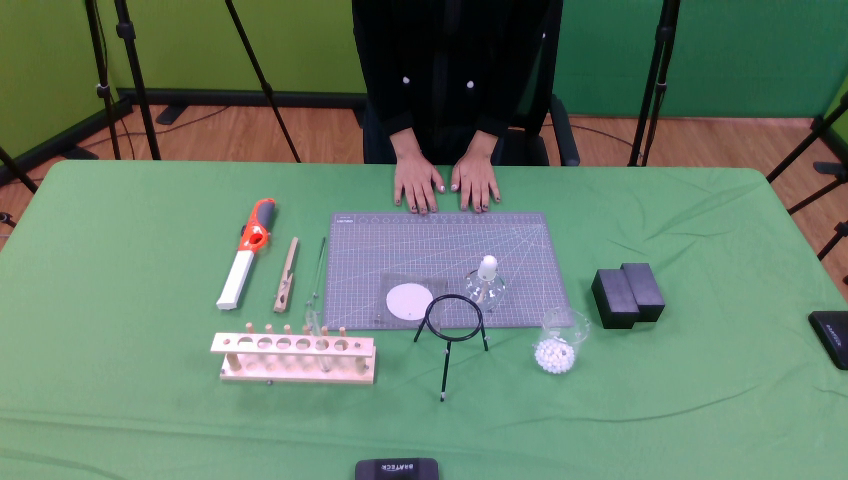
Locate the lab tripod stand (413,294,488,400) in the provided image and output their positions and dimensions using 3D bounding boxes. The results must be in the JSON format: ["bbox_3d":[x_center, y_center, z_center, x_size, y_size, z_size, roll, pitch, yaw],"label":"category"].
[{"bbox_3d":[0.044,0.159,0.972,0.148,0.132,0.147,2,44,-2],"label":"lab tripod stand"}]

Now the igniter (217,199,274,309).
[{"bbox_3d":[-0.336,0.017,1.153,0.057,0.025,0.275,-2,45,8],"label":"igniter"}]

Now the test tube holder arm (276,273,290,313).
[{"bbox_3d":[-0.254,0.093,1.094,0.010,0.015,0.087,28,38,-27],"label":"test tube holder arm"}]

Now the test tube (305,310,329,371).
[{"bbox_3d":[-0.162,0.156,0.924,0.017,0.151,0.017,-1,48,1],"label":"test tube"}]

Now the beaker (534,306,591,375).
[{"bbox_3d":[0.226,0.169,1.002,0.084,0.101,0.073,-6,47,-10],"label":"beaker"}]

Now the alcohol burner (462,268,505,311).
[{"bbox_3d":[0.108,0.071,1.073,0.078,0.119,0.077,4,46,-3],"label":"alcohol burner"}]

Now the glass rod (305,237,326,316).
[{"bbox_3d":[-0.202,0.063,1.131,0.008,0.008,0.198,3,44,0],"label":"glass rod"}]

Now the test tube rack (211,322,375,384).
[{"bbox_3d":[-0.202,0.176,0.969,0.242,0.085,0.066,3,46,-2],"label":"test tube rack"}]

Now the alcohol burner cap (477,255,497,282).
[{"bbox_3d":[0.110,0.047,1.046,0.034,0.048,0.033,2,52,-2],"label":"alcohol burner cap"}]

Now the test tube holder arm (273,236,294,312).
[{"bbox_3d":[-0.259,0.059,1.123,0.013,0.015,0.177,28,39,-28],"label":"test tube holder arm"}]

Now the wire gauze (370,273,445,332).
[{"bbox_3d":[-0.028,0.109,1.100,0.125,0.011,0.121,7,45,4],"label":"wire gauze"}]
